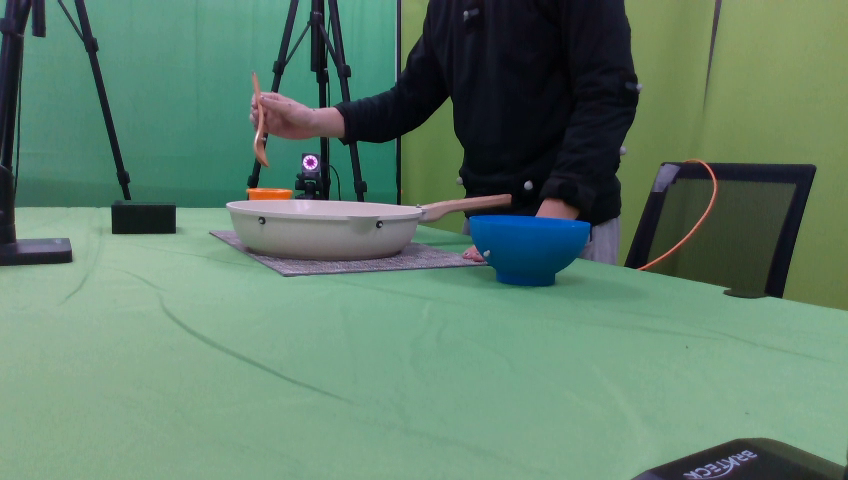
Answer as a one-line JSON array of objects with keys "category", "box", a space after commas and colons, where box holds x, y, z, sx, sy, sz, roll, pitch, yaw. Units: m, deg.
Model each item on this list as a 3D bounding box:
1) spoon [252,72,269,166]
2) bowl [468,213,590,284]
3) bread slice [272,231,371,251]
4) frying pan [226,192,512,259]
[{"category": "spoon", "box": [-0.299, -0.222, 1.101, 0.021, 0.193, 0.042, -10, -18, 8]}, {"category": "bowl", "box": [0.128, 0.011, 0.755, 0.151, 0.077, 0.151, 2, 7, 0]}, {"category": "bread slice", "box": [-0.148, 0.001, 0.929, 0.133, 0.018, 0.107, 5, 8, 38]}, {"category": "frying pan", "box": [-0.058, -0.041, 0.975, 0.490, 0.102, 0.305, -11, 13, -26]}]
